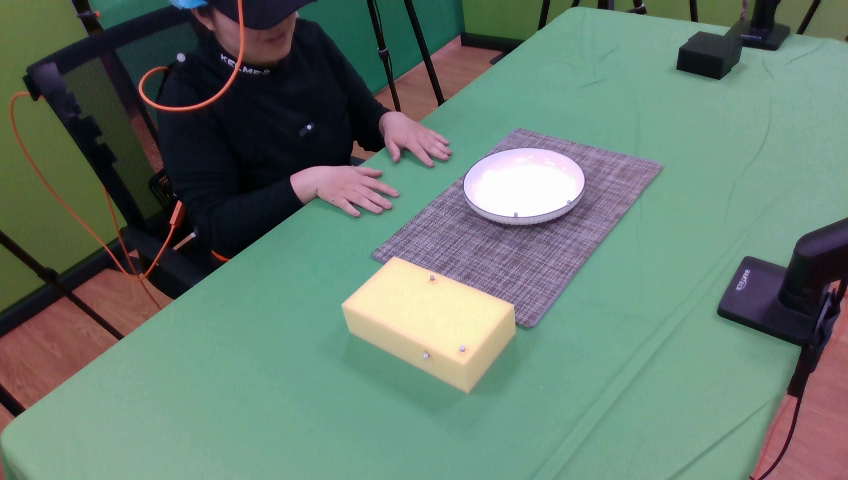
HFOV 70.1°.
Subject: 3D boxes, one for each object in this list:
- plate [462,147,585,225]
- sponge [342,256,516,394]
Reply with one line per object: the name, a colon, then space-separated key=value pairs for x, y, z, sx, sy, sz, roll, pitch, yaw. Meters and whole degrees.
plate: x=0.170 y=-0.089 z=1.041 sx=0.207 sy=0.039 sz=0.206 roll=-5 pitch=40 yaw=5
sponge: x=0.006 y=0.109 z=0.827 sx=0.205 sy=0.061 sz=0.118 roll=20 pitch=48 yaw=30
